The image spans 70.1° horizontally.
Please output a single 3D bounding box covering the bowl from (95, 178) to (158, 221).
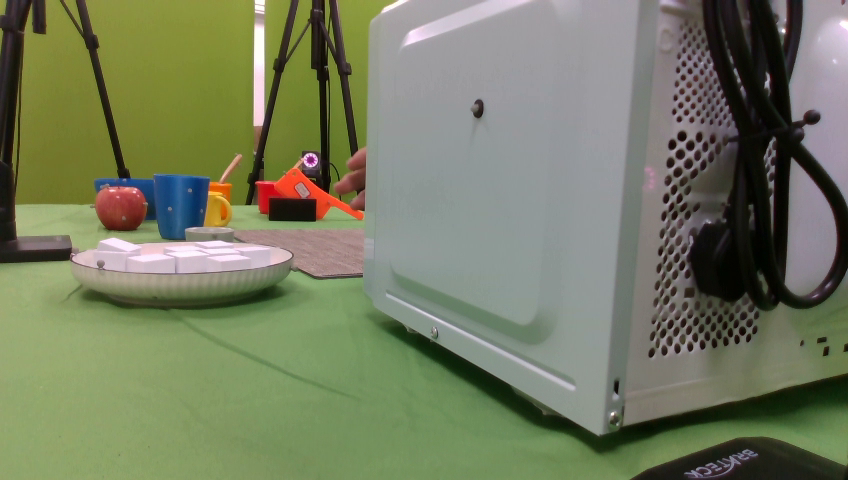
[{"bbox_3d":[-0.576,-0.081,1.217,0.151,0.077,0.151,3,7,0],"label":"bowl"}]

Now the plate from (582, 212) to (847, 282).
[{"bbox_3d":[0.239,0.003,0.510,0.209,0.038,0.209,2,8,0],"label":"plate"}]

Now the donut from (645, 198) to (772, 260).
[{"bbox_3d":[0.239,-0.008,0.513,0.099,0.048,0.099,10,1,0],"label":"donut"}]

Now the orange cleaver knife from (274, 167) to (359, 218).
[{"bbox_3d":[-0.238,-0.091,1.381,0.212,0.077,0.012,31,0,-19],"label":"orange cleaver knife"}]

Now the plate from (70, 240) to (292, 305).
[{"bbox_3d":[-0.242,0.031,0.618,0.208,0.039,0.207,2,8,0],"label":"plate"}]

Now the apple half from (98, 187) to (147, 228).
[{"bbox_3d":[-0.534,-0.059,1.071,0.082,0.081,0.032,-1,11,-25],"label":"apple half"}]

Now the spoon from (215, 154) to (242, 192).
[{"bbox_3d":[-0.438,-0.124,1.318,0.041,0.193,0.022,6,-36,15],"label":"spoon"}]

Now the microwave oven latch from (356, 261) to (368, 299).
[{"bbox_3d":[-0.019,0.033,0.528,0.079,0.029,0.030,0,7,-22],"label":"microwave oven latch"}]

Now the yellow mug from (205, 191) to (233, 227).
[{"bbox_3d":[-0.415,-0.057,1.132,0.130,0.064,0.100,6,8,16],"label":"yellow mug"}]

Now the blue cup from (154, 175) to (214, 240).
[{"bbox_3d":[-0.390,-0.053,0.977,0.093,0.100,0.092,3,6,0],"label":"blue cup"}]

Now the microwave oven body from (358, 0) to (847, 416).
[{"bbox_3d":[0.211,-0.047,0.474,0.444,0.260,0.324,-1,7,-28],"label":"microwave oven body"}]

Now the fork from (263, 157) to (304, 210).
[{"bbox_3d":[-0.345,-0.143,1.505,0.028,0.019,0.207,-3,46,28],"label":"fork"}]

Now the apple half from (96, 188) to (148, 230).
[{"bbox_3d":[-0.517,-0.052,1.036,0.081,0.074,0.053,2,10,-26],"label":"apple half"}]

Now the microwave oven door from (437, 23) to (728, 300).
[{"bbox_3d":[0.181,-0.072,0.621,0.358,0.243,0.039,-2,8,-29],"label":"microwave oven door"}]

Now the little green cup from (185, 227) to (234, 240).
[{"bbox_3d":[-0.285,0.005,0.805,0.061,0.038,0.061,2,8,0],"label":"little green cup"}]
